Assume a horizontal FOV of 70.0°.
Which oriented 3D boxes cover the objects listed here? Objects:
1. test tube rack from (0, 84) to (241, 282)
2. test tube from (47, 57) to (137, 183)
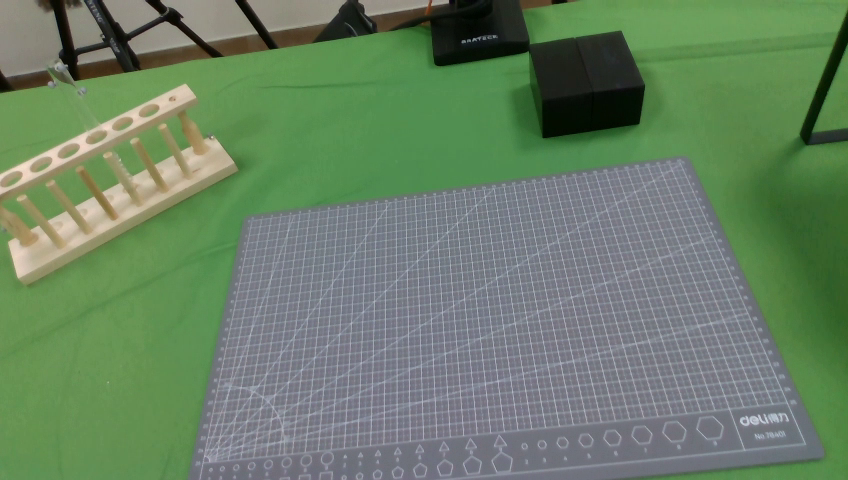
[{"bbox_3d":[-0.329,-0.063,0.637,0.242,0.086,0.066,-32,52,-16],"label":"test tube rack"},{"bbox_3d":[-0.333,-0.116,0.615,0.017,0.152,0.017,-5,45,6],"label":"test tube"}]
